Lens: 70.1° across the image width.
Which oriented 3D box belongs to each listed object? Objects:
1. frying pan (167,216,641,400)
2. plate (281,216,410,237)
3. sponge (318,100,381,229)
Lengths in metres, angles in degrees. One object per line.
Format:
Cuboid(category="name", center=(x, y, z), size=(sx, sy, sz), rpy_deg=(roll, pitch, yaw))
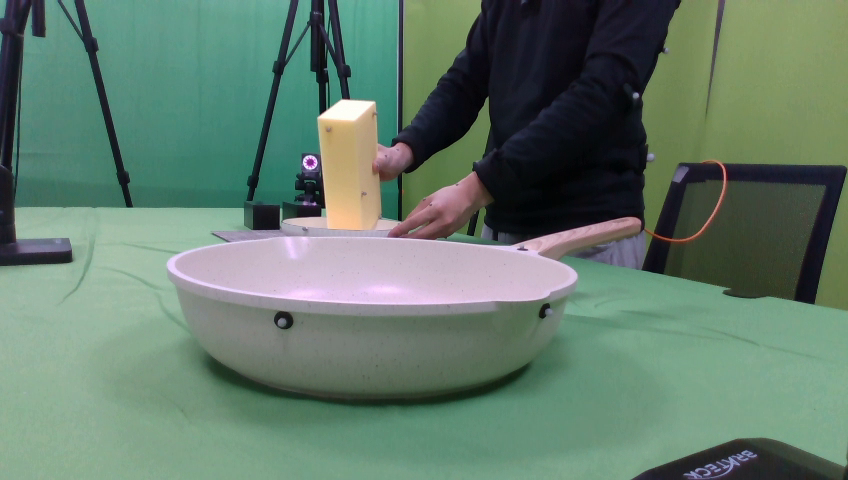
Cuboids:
Cuboid(category="frying pan", center=(0.046, 0.024, 0.519), size=(0.490, 0.102, 0.305), rpy_deg=(-14, 16, -37))
Cuboid(category="plate", center=(-0.126, -0.011, 0.986), size=(0.208, 0.039, 0.207), rpy_deg=(2, 7, 0))
Cuboid(category="sponge", center=(-0.119, -0.117, 1.001), size=(0.061, 0.207, 0.118), rpy_deg=(4, 28, 10))
